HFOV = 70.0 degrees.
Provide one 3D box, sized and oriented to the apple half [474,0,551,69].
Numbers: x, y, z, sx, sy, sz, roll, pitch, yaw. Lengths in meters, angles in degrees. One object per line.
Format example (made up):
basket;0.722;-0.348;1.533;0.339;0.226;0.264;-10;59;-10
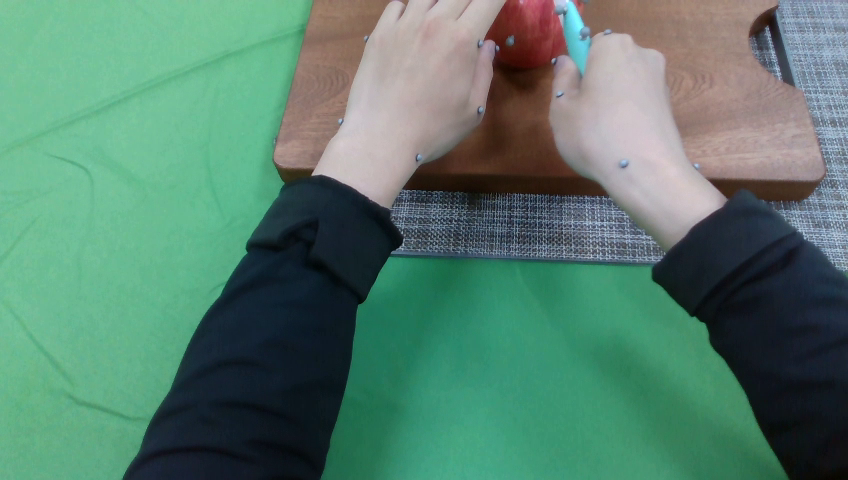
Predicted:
apple half;0.066;-0.174;0.470;0.053;0.075;0.080;-10;64;4

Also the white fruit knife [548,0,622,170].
white fruit knife;0.095;-0.147;0.409;0.016;0.027;0.206;-14;77;-4

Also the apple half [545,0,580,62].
apple half;0.103;-0.181;0.469;0.033;0.082;0.080;-9;60;4
